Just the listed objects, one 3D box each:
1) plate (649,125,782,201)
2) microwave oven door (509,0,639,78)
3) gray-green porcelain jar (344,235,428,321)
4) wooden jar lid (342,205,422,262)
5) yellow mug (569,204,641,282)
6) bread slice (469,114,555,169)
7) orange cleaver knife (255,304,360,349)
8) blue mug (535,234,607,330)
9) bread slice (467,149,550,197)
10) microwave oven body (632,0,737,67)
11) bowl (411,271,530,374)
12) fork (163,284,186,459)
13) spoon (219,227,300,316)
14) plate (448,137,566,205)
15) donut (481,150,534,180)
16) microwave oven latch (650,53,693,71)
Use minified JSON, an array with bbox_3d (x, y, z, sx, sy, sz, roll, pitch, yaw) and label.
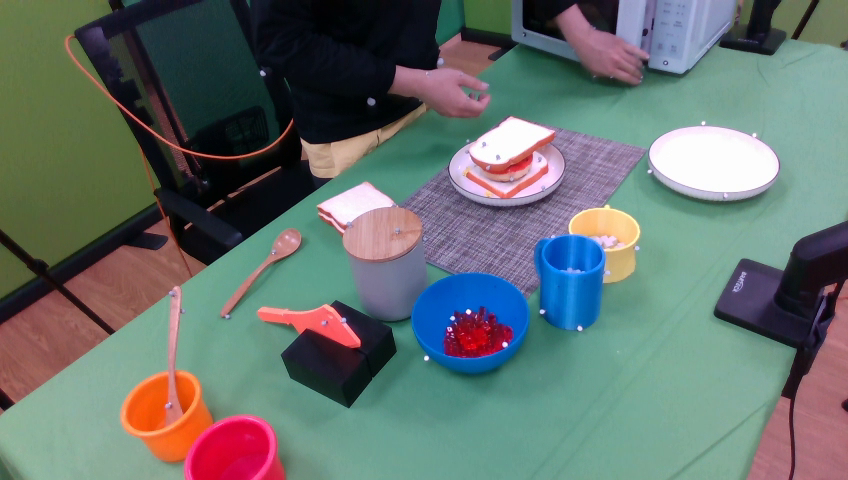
[{"bbox_3d":[0.493,-0.127,1.036,0.207,0.039,0.206,-4,41,4],"label":"plate"},{"bbox_3d":[0.326,-0.521,1.332,0.039,0.245,0.352,-33,47,-26],"label":"microwave oven door"},{"bbox_3d":[-0.049,0.042,0.849,0.106,0.127,0.105,-4,41,4],"label":"gray-green porcelain jar"},{"bbox_3d":[-0.055,-0.006,0.808,0.108,0.021,0.108,-6,41,6],"label":"wooden jar lid"},{"bbox_3d":[0.268,-0.005,0.904,0.099,0.064,0.130,7,42,15],"label":"yellow mug"},{"bbox_3d":[0.145,-0.168,1.036,0.134,0.018,0.106,-38,43,-24],"label":"bread slice"},{"bbox_3d":[-0.161,0.115,0.813,0.210,0.077,0.012,-4,32,47],"label":"orange cleaver knife"},{"bbox_3d":[0.191,0.048,0.824,0.082,0.106,0.115,-26,44,-20],"label":"blue mug"},{"bbox_3d":[0.157,-0.129,1.083,0.132,0.019,0.104,-34,47,-26],"label":"bread slice"},{"bbox_3d":[0.475,-0.602,1.411,0.438,0.261,0.327,23,50,32],"label":"microwave oven body"},{"bbox_3d":[0.061,0.120,0.780,0.151,0.077,0.150,-4,40,4],"label":"bowl"},{"bbox_3d":[-0.303,0.157,0.733,0.028,0.019,0.207,-3,84,12],"label":"fork"},{"bbox_3d":[-0.261,0.046,0.954,0.041,0.021,0.194,27,48,11],"label":"spoon"},{"bbox_3d":[0.147,-0.124,1.075,0.209,0.038,0.208,-4,41,4],"label":"plate"},{"bbox_3d":[0.143,-0.145,1.058,0.099,0.048,0.098,-3,42,3],"label":"donut"},{"bbox_3d":[0.531,-0.386,1.301,0.078,0.029,0.030,26,51,33],"label":"microwave oven latch"}]
